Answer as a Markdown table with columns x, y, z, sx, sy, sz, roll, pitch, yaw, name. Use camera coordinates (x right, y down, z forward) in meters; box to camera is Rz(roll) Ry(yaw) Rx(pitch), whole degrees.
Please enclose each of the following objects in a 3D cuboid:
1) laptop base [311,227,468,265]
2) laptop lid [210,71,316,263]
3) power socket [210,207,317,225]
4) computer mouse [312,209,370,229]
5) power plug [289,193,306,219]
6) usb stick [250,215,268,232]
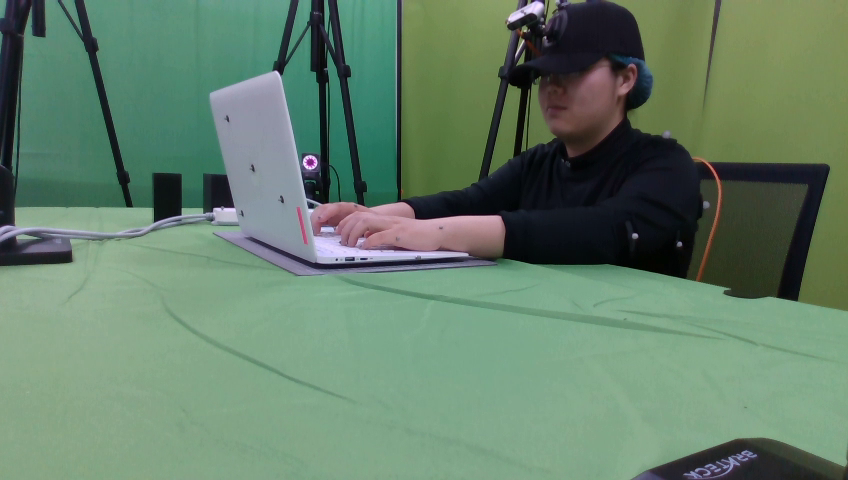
| x | y | z | sx | sy | sz | roll | pitch | yaw | name |
| --- | --- | --- | --- | --- | --- | --- | --- | --- | --- |
| -0.123 | 0.007 | 0.951 | 0.237 | 0.023 | 0.352 | 2 | 6 | -32 | laptop base |
| -0.240 | -0.104 | 0.861 | 0.013 | 0.241 | 0.355 | -16 | 17 | -29 | laptop lid |
| -0.334 | -0.051 | 1.281 | 0.228 | 0.032 | 0.072 | -1 | 8 | -28 | power socket |
| -0.174 | -0.043 | 1.266 | 0.118 | 0.041 | 0.062 | -7 | 14 | -34 | computer mouse |
| -0.281 | -0.076 | 1.340 | 0.035 | 0.052 | 0.072 | 3 | 6 | -17 | power plug |
| -0.290 | -0.028 | 1.069 | 0.021 | 0.027 | 0.059 | -1 | 11 | -30 | usb stick |
